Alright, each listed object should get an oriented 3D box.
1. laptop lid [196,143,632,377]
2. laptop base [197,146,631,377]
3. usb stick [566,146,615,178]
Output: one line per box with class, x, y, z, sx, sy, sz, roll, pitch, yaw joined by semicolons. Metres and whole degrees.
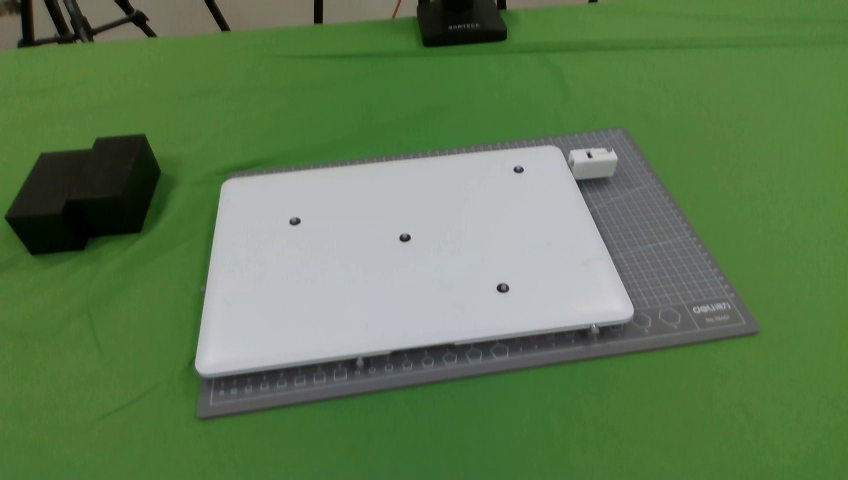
laptop lid;-0.017;0.001;0.552;0.357;0.013;0.239;-6;48;-3
laptop base;-0.017;0.007;0.562;0.355;0.023;0.233;-7;49;-4
usb stick;0.164;-0.079;0.623;0.059;0.027;0.021;-7;47;-2
